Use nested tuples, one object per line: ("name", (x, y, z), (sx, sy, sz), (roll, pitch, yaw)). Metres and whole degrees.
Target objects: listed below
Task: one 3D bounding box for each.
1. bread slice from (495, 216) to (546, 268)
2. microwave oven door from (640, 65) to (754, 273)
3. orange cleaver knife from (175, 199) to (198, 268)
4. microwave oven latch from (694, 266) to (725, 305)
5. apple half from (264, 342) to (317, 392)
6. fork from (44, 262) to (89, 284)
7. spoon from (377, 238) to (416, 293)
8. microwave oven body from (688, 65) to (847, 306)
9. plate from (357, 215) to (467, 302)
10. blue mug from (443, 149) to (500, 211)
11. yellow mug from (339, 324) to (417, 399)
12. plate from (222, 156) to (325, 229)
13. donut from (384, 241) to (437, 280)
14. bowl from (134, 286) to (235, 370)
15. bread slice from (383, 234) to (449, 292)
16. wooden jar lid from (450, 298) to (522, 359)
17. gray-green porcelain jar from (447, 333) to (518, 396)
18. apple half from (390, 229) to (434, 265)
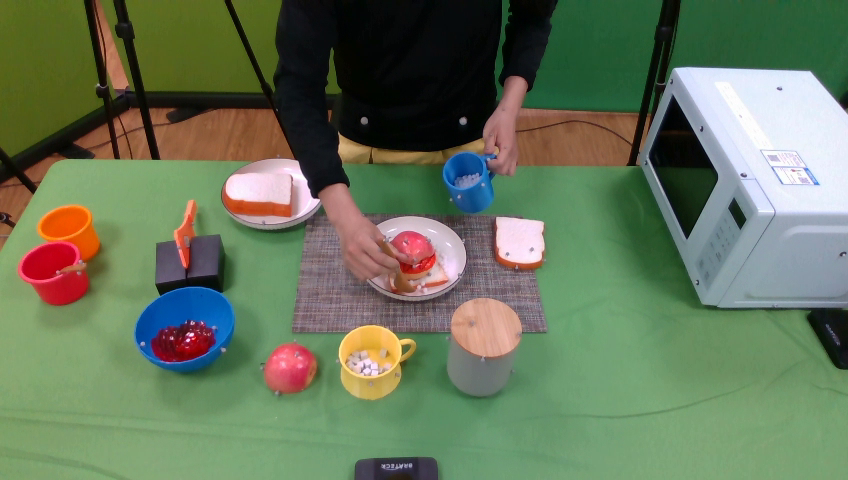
("bread slice", (0.194, 0.002, 1.204), (0.105, 0.019, 0.131), (5, 45, 2))
("microwave oven door", (0.523, -0.147, 1.193), (0.039, 0.245, 0.353), (0, 47, -3))
("orange cleaver knife", (-0.438, -0.017, 1.138), (0.012, 0.077, 0.210), (-13, 27, -7))
("microwave oven latch", (0.523, 0.082, 1.115), (0.030, 0.029, 0.078), (3, 46, 0))
("apple half", (-0.214, 0.198, 0.970), (0.074, 0.053, 0.080), (19, 48, 11))
("fork", (-0.599, 0.054, 1.014), (0.207, 0.019, 0.028), (-15, 29, 45))
("spoon", (-0.048, 0.043, 0.998), (0.041, 0.195, 0.021), (15, 63, 21))
("microwave oven body", (0.669, -0.111, 1.176), (0.326, 0.261, 0.439), (0, 46, -3))
("plate", (-0.022, 0.037, 1.142), (0.208, 0.039, 0.206), (2, 47, -2))
("blue mug", (0.100, -0.123, 1.163), (0.116, 0.106, 0.082), (-39, 64, -3))
("yellow mug", (-0.072, 0.190, 0.978), (0.131, 0.064, 0.099), (-17, 50, -20))
("plate", (-0.308, -0.095, 1.251), (0.209, 0.038, 0.208), (2, 47, -2))
("donut", (-0.025, 0.030, 1.109), (0.099, 0.048, 0.098), (2, 47, -2))
("bowl", (-0.377, 0.155, 0.981), (0.151, 0.077, 0.150), (2, 46, -2))
("bread slice", (-0.026, 0.038, 1.139), (0.107, 0.018, 0.133), (-11, 49, -16))
("wooden jar lid", (0.093, 0.135, 0.914), (0.108, 0.021, 0.107), (3, 48, -3))
("gray-green porcelain jar", (0.091, 0.178, 0.960), (0.106, 0.127, 0.105), (2, 46, -2))
("apple half", (-0.022, 0.003, 1.085), (0.081, 0.033, 0.081), (7, 45, -7))
